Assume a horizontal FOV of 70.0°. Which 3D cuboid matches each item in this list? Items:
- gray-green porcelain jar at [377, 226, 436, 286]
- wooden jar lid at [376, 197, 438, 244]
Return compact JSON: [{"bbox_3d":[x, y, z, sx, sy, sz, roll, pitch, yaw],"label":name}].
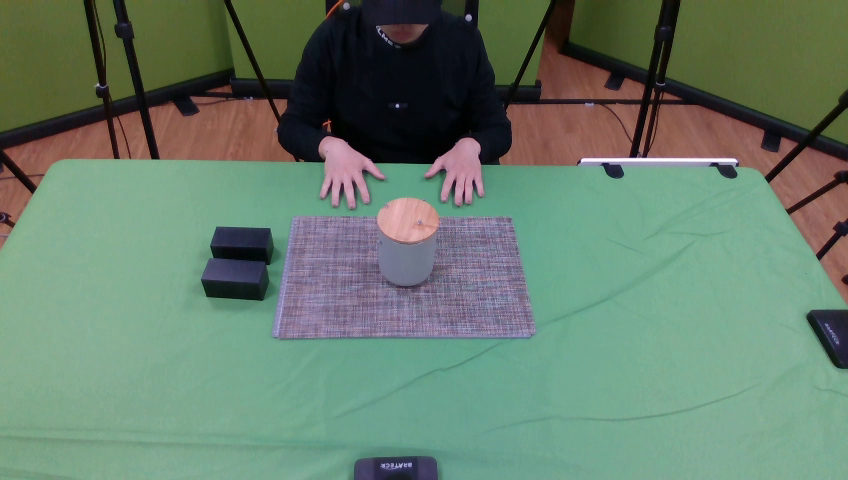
[{"bbox_3d":[-0.033,0.014,1.106,0.106,0.127,0.105,2,46,-2],"label":"gray-green porcelain jar"},{"bbox_3d":[-0.029,-0.031,1.061,0.108,0.021,0.107,2,47,-2],"label":"wooden jar lid"}]
